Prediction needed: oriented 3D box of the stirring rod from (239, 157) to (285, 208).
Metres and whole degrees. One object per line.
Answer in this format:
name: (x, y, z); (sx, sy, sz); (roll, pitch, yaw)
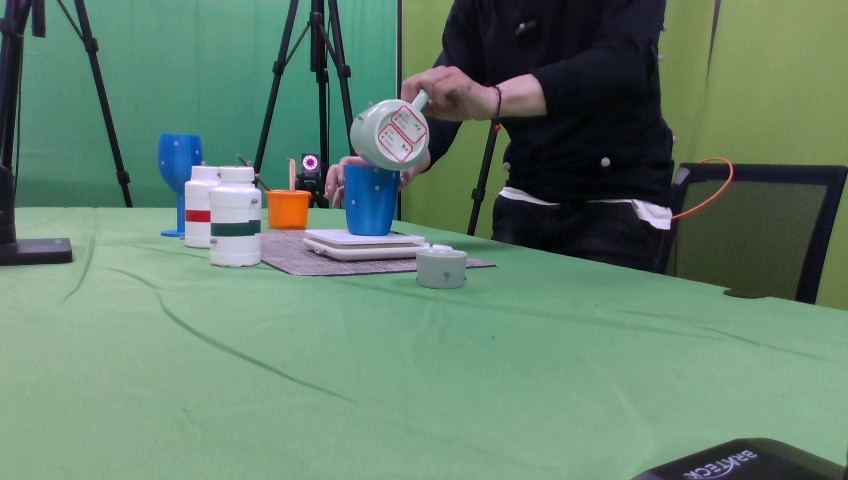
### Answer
stirring rod: (-0.309, -0.099, 1.209); (0.006, 0.177, 0.014); (-38, 29, -2)

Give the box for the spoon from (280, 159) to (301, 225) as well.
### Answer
spoon: (-0.273, -0.102, 1.252); (0.042, 0.193, 0.021); (7, -38, -17)

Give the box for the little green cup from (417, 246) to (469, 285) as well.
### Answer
little green cup: (0.021, 0.029, 0.701); (0.061, 0.038, 0.061); (1, 6, 0)

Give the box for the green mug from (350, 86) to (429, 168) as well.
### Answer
green mug: (-0.039, -0.159, 0.822); (0.093, 0.125, 0.104); (42, -8, -23)

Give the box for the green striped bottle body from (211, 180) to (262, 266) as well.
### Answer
green striped bottle body: (-0.243, -0.029, 0.784); (0.063, 0.119, 0.063); (2, 7, 0)

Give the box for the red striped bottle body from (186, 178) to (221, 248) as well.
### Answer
red striped bottle body: (-0.331, -0.050, 0.927); (0.063, 0.119, 0.063); (2, 6, 0)

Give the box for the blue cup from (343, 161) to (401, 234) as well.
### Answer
blue cup: (-0.078, -0.062, 0.884); (0.093, 0.100, 0.092); (3, 5, 0)

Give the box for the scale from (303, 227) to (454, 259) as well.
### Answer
scale: (-0.066, 0.001, 0.906); (0.202, 0.031, 0.148); (-2, 8, -31)

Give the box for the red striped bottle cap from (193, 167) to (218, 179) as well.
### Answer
red striped bottle cap: (-0.329, -0.103, 0.921); (0.044, 0.017, 0.044); (-1, 9, 0)

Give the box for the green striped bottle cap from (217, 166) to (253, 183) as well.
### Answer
green striped bottle cap: (-0.242, -0.084, 0.776); (0.044, 0.020, 0.044); (2, 7, 0)

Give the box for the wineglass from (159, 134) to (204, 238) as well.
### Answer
wineglass: (-0.415, -0.093, 1.039); (0.074, 0.172, 0.073); (2, 7, 0)
